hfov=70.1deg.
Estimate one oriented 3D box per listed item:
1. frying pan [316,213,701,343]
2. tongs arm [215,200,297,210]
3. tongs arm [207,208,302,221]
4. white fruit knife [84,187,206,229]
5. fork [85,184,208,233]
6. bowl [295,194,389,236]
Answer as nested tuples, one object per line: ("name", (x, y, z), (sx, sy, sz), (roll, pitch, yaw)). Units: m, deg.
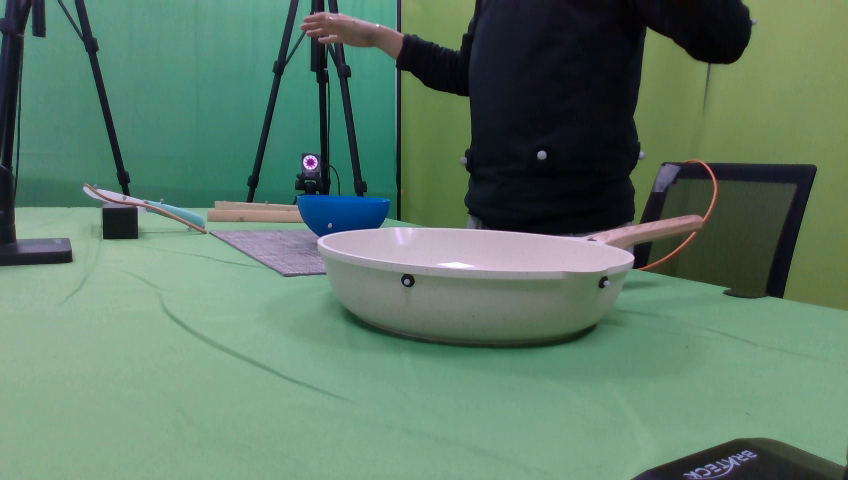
("frying pan", (0.133, 0.013, 0.629), (0.490, 0.102, 0.305), (-12, 14, -30))
("tongs arm", (-0.295, -0.069, 1.425), (0.386, 0.026, 0.050), (2, 8, -9))
("tongs arm", (-0.277, -0.055, 1.347), (0.389, 0.028, 0.028), (0, 5, -22))
("white fruit knife", (-0.488, -0.059, 1.071), (0.208, 0.027, 0.016), (17, 4, -33))
("fork", (-0.462, -0.051, 1.019), (0.208, 0.018, 0.028), (22, -11, -37))
("bowl", (-0.133, -0.032, 0.980), (0.151, 0.077, 0.151), (2, 7, 0))
